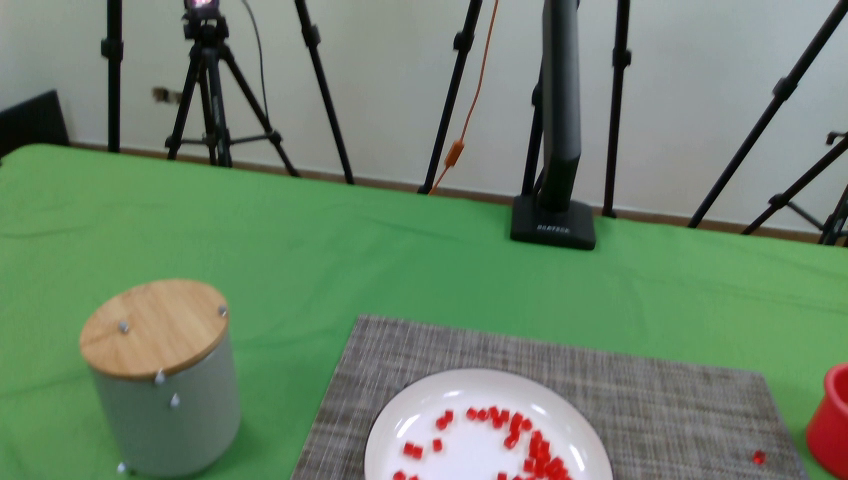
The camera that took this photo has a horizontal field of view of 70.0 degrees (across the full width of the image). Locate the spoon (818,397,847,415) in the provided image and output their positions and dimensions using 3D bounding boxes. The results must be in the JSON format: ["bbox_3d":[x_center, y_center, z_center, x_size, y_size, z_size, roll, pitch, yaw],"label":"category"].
[{"bbox_3d":[0.432,0.150,0.516,0.042,0.021,0.193,-7,-5,-23],"label":"spoon"}]

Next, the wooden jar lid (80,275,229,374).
[{"bbox_3d":[-0.209,0.068,0.478,0.108,0.021,0.107,3,36,-2],"label":"wooden jar lid"}]

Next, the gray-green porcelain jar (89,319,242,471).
[{"bbox_3d":[-0.213,0.122,0.513,0.106,0.127,0.105,3,34,-2],"label":"gray-green porcelain jar"}]

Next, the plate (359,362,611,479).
[{"bbox_3d":[0.049,0.191,0.513,0.208,0.039,0.205,3,34,-2],"label":"plate"}]
